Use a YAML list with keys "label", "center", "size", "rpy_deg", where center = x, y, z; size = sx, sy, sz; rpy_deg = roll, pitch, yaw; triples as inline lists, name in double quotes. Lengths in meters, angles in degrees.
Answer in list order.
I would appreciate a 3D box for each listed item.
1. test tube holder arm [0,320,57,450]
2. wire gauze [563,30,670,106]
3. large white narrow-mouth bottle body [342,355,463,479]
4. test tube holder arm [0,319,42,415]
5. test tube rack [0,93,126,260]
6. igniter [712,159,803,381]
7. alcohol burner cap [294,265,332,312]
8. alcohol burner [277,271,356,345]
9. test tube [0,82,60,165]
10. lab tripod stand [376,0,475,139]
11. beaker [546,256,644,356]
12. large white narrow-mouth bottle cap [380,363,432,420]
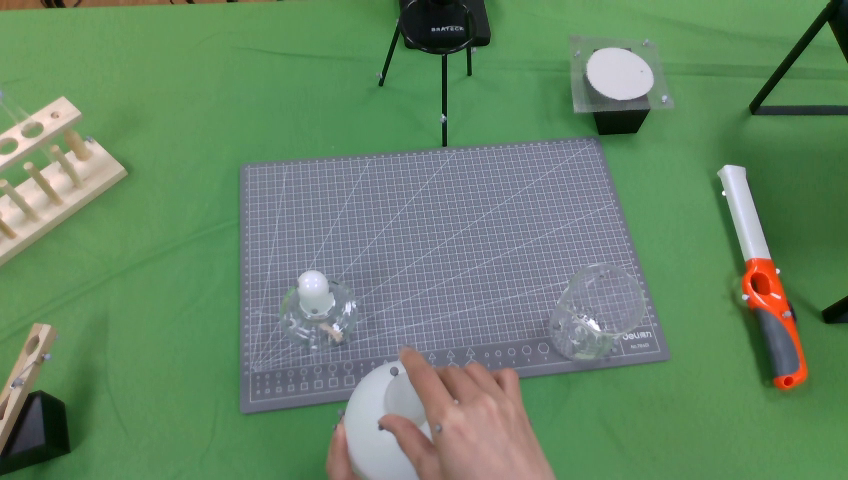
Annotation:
- label: "test tube holder arm"
  center: [-0.368, 0.155, 0.531]
  size: [0.013, 0.015, 0.177]
  rpy_deg: [7, 64, 5]
- label: "wire gauze"
  center: [0.240, -0.218, 0.765]
  size: [0.121, 0.011, 0.124]
  rpy_deg: [1, 63, -3]
- label: "large white narrow-mouth bottle body"
  center: [-0.019, 0.153, 0.511]
  size: [0.102, 0.196, 0.101]
  rpy_deg: [2, 62, -3]
- label: "test tube holder arm"
  center: [-0.367, 0.115, 0.551]
  size: [0.010, 0.015, 0.087]
  rpy_deg: [5, 64, 5]
- label: "test tube rack"
  center: [-0.453, -0.044, 0.640]
  size: [0.066, 0.086, 0.242]
  rpy_deg: [40, 67, 15]
- label: "igniter"
  center: [0.380, 0.026, 0.697]
  size: [0.057, 0.025, 0.274]
  rpy_deg: [5, 63, -13]
- label: "alcohol burner cap"
  center: [-0.104, 0.043, 0.562]
  size: [0.034, 0.048, 0.033]
  rpy_deg: [1, 58, 0]
- label: "alcohol burner"
  center: [-0.106, 0.059, 0.594]
  size: [0.078, 0.120, 0.077]
  rpy_deg: [3, 61, -4]
- label: "test tube"
  center: [-0.417, -0.126, 0.628]
  size: [0.017, 0.151, 0.017]
  rpy_deg: [0, 61, 0]
- label: "lab tripod stand"
  center: [0.011, -0.219, 0.735]
  size: [0.148, 0.132, 0.147]
  rpy_deg: [2, 64, -5]
- label: "beaker"
  center: [0.165, 0.072, 0.615]
  size: [0.084, 0.101, 0.073]
  rpy_deg: [-4, 63, -5]
- label: "large white narrow-mouth bottle cap"
  center: [-0.013, 0.106, 0.424]
  size: [0.038, 0.024, 0.037]
  rpy_deg: [2, 63, -3]
